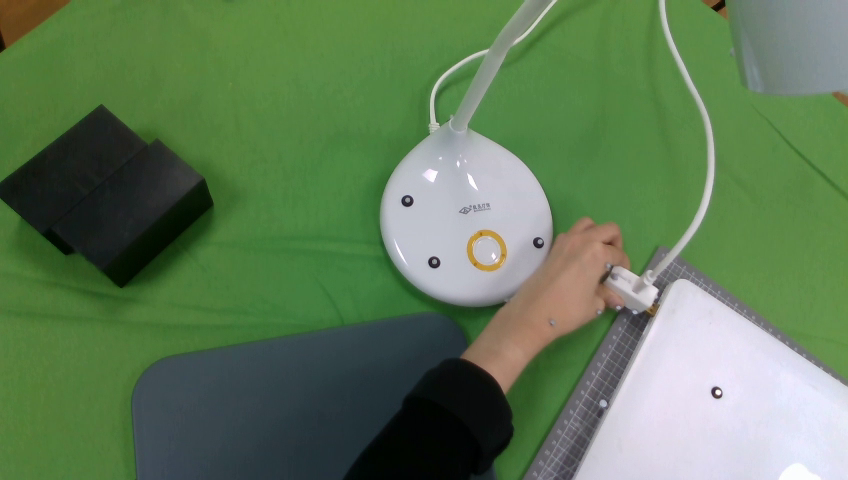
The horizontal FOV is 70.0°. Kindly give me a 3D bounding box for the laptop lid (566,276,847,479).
[{"bbox_3d":[0.310,0.217,0.512,0.356,0.013,0.241,35,71,2],"label":"laptop lid"}]

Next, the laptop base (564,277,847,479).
[{"bbox_3d":[0.309,0.219,0.524,0.354,0.023,0.235,34,72,1],"label":"laptop base"}]

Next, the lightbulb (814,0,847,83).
[{"bbox_3d":[0.164,-0.100,0.190,0.060,0.059,0.108,-4,111,-13],"label":"lightbulb"}]

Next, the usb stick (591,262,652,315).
[{"bbox_3d":[0.183,0.046,0.543,0.059,0.027,0.021,33,62,-2],"label":"usb stick"}]

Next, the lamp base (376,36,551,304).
[{"bbox_3d":[0.045,-0.056,0.474,0.161,0.181,0.178,-23,74,-18],"label":"lamp base"}]

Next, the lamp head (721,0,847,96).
[{"bbox_3d":[0.141,-0.122,0.192,0.112,0.112,0.123,-33,104,-20],"label":"lamp head"}]

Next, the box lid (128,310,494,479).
[{"bbox_3d":[-0.063,0.243,0.442,0.264,0.015,0.369,-8,75,-14],"label":"box lid"}]
